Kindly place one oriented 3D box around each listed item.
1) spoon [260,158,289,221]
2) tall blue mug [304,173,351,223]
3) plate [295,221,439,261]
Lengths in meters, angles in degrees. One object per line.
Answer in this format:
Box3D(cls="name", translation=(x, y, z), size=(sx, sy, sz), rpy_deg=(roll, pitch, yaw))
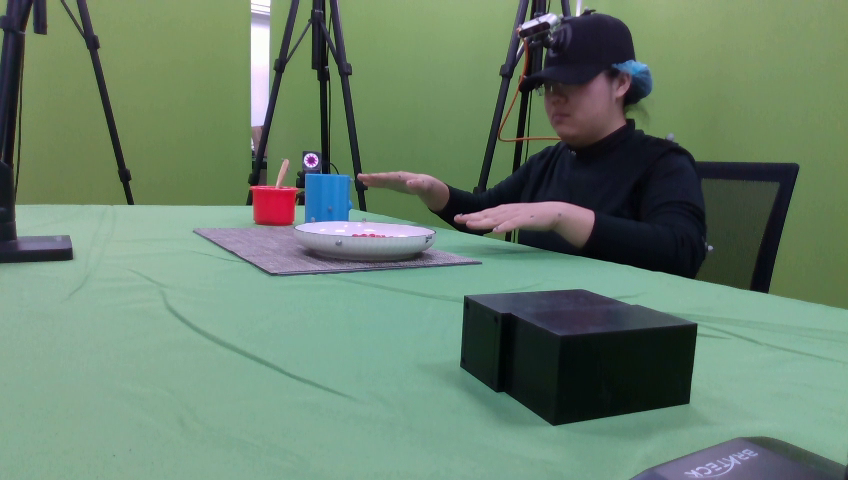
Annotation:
Box3D(cls="spoon", translation=(-0.308, -0.110, 1.277), size=(0.041, 0.022, 0.193), rpy_deg=(-1, 51, 6))
Box3D(cls="tall blue mug", translation=(-0.178, -0.063, 1.062), size=(0.078, 0.108, 0.106), rpy_deg=(-5, 10, -38))
Box3D(cls="plate", translation=(-0.083, 0.001, 0.885), size=(0.208, 0.039, 0.207), rpy_deg=(2, 7, 0))
